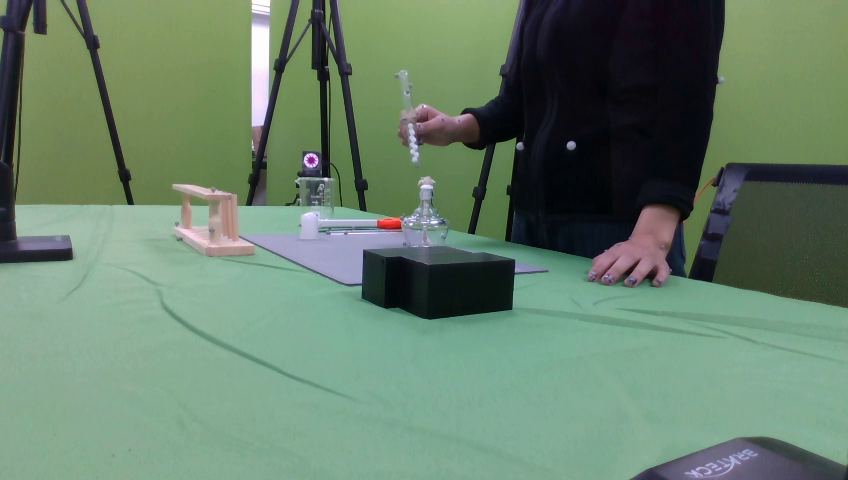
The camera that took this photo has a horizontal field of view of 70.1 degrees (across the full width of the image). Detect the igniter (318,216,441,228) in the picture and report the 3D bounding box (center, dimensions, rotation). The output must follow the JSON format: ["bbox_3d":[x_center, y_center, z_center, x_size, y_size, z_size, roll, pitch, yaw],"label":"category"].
[{"bbox_3d":[-0.090,-0.035,1.223,0.278,0.025,0.057,-2,-1,-31],"label":"igniter"}]

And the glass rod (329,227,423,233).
[{"bbox_3d":[-0.087,-0.019,1.148,0.201,0.008,0.008,-2,8,-32],"label":"glass rod"}]

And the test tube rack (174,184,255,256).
[{"bbox_3d":[-0.327,-0.036,0.928,0.067,0.085,0.241,-2,9,-32],"label":"test tube rack"}]

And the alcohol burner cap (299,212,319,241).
[{"bbox_3d":[-0.195,-0.024,1.025,0.034,0.048,0.034,3,7,0],"label":"alcohol burner cap"}]

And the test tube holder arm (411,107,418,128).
[{"bbox_3d":[-0.015,-0.196,0.974,0.010,0.015,0.088,-7,-2,-2],"label":"test tube holder arm"}]

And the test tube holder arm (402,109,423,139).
[{"bbox_3d":[-0.018,-0.194,1.019,0.013,0.015,0.178,-7,-2,6],"label":"test tube holder arm"}]

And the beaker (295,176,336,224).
[{"bbox_3d":[-0.224,-0.080,1.247,0.084,0.100,0.073,-1,8,-18],"label":"beaker"}]

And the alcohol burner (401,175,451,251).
[{"bbox_3d":[0.003,-0.042,0.947,0.078,0.119,0.078,1,9,0],"label":"alcohol burner"}]

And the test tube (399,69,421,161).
[{"bbox_3d":[-0.021,-0.197,0.951,0.017,0.150,0.017,-8,-7,-1],"label":"test tube"}]
